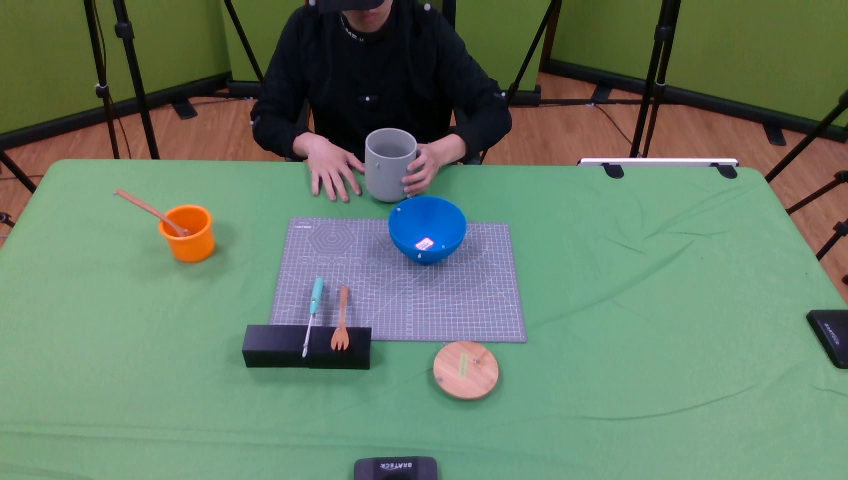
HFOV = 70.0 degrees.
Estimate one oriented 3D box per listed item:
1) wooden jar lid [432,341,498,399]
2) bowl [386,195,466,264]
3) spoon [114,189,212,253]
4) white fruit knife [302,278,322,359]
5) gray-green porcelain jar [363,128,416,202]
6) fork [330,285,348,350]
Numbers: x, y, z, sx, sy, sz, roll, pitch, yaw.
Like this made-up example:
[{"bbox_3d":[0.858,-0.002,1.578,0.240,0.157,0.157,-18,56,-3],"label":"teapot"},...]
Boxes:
[{"bbox_3d":[0.067,0.216,0.997,0.108,0.021,0.107,1,46,-1],"label":"wooden jar lid"},{"bbox_3d":[0.003,-0.007,1.162,0.151,0.077,0.150,2,46,-2],"label":"bowl"},{"bbox_3d":[-0.475,-0.037,1.109,0.021,0.195,0.041,-29,34,32],"label":"spoon"},{"bbox_3d":[-0.189,0.126,1.020,0.016,0.027,0.206,0,33,-2],"label":"white fruit knife"},{"bbox_3d":[-0.073,-0.151,1.260,0.106,0.127,0.105,4,45,-4],"label":"gray-green porcelain jar"},{"bbox_3d":[-0.140,0.127,1.021,0.028,0.019,0.206,-5,28,-2],"label":"fork"}]
